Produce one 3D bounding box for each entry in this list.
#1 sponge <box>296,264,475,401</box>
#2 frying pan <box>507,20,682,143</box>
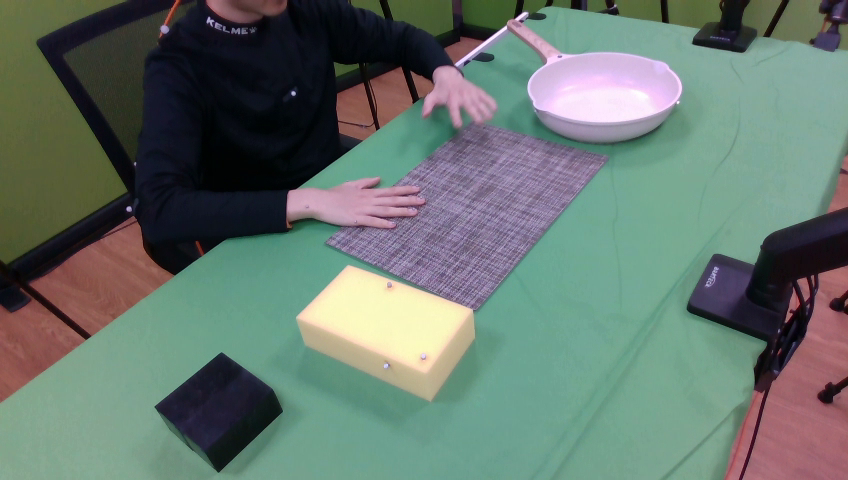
[{"bbox_3d":[-0.050,0.118,0.811,0.205,0.061,0.118,17,47,26],"label":"sponge"},{"bbox_3d":[0.312,-0.352,1.271,0.308,0.103,0.484,-20,51,-16],"label":"frying pan"}]
